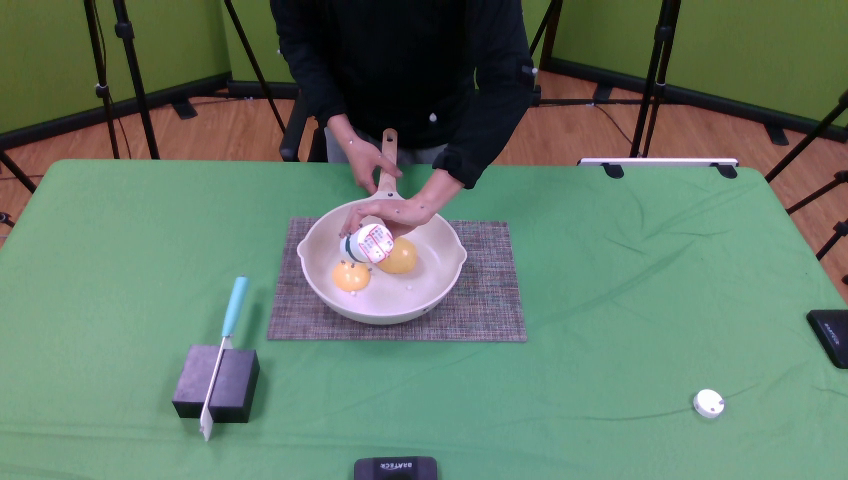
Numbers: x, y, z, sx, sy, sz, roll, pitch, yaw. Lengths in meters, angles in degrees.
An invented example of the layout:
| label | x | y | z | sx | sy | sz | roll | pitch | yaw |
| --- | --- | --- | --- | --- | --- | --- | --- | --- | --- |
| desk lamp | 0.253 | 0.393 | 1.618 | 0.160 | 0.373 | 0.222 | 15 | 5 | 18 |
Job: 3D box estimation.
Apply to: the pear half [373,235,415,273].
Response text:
| label | x | y | z | sx | sy | sz | roll | pitch | yaw |
| --- | --- | --- | --- | --- | --- | --- | --- | --- | --- |
| pear half | -0.074 | 0.017 | 1.146 | 0.110 | 0.056 | 0.076 | 9 | 41 | 7 |

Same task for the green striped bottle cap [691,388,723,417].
| label | x | y | z | sx | sy | sz | roll | pitch | yaw |
| --- | --- | --- | --- | --- | --- | --- | --- | --- | --- |
| green striped bottle cap | 0.460 | 0.263 | 0.984 | 0.044 | 0.020 | 0.044 | 3 | 46 | -3 |

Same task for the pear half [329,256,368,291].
| label | x | y | z | sx | sy | sz | roll | pitch | yaw |
| --- | --- | --- | --- | --- | --- | --- | --- | --- | --- |
| pear half | -0.140 | 0.053 | 1.121 | 0.070 | 0.031 | 0.087 | -6 | 51 | -17 |

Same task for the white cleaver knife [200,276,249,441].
| label | x | y | z | sx | sy | sz | roll | pitch | yaw |
| --- | --- | --- | --- | --- | --- | --- | --- | --- | --- |
| white cleaver knife | -0.321 | 0.177 | 0.972 | 0.021 | 0.066 | 0.284 | 7 | 48 | -5 |

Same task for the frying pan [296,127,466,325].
| label | x | y | z | sx | sy | sz | roll | pitch | yaw |
| --- | --- | --- | --- | --- | --- | --- | --- | --- | --- |
| frying pan | -0.076 | -0.045 | 1.172 | 0.307 | 0.103 | 0.485 | 3 | 55 | -2 |

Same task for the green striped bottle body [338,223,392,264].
| label | x | y | z | sx | sy | sz | roll | pitch | yaw |
| --- | --- | --- | --- | --- | --- | --- | --- | --- | --- |
| green striped bottle body | -0.106 | 0.009 | 1.029 | 0.063 | 0.119 | 0.063 | 3 | 84 | -26 |
